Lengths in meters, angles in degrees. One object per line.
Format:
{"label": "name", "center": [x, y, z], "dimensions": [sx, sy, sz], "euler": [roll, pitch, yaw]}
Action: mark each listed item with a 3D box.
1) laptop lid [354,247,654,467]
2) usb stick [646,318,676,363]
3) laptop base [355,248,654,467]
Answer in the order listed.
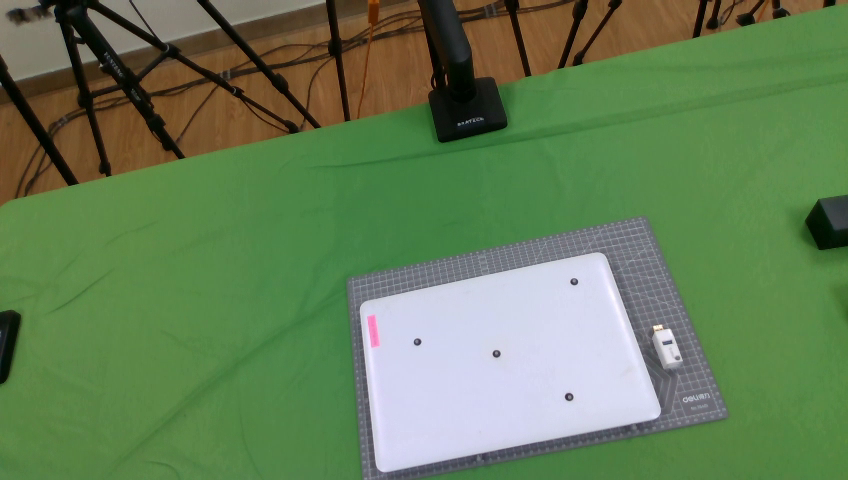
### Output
{"label": "laptop lid", "center": [0.090, 0.144, 0.788], "dimensions": [0.356, 0.013, 0.239], "euler": [-11, 60, 3]}
{"label": "usb stick", "center": [0.298, 0.123, 0.769], "dimensions": [0.021, 0.027, 0.058], "euler": [-15, 55, 6]}
{"label": "laptop base", "center": [0.091, 0.147, 0.799], "dimensions": [0.354, 0.023, 0.233], "euler": [-13, 61, 2]}
